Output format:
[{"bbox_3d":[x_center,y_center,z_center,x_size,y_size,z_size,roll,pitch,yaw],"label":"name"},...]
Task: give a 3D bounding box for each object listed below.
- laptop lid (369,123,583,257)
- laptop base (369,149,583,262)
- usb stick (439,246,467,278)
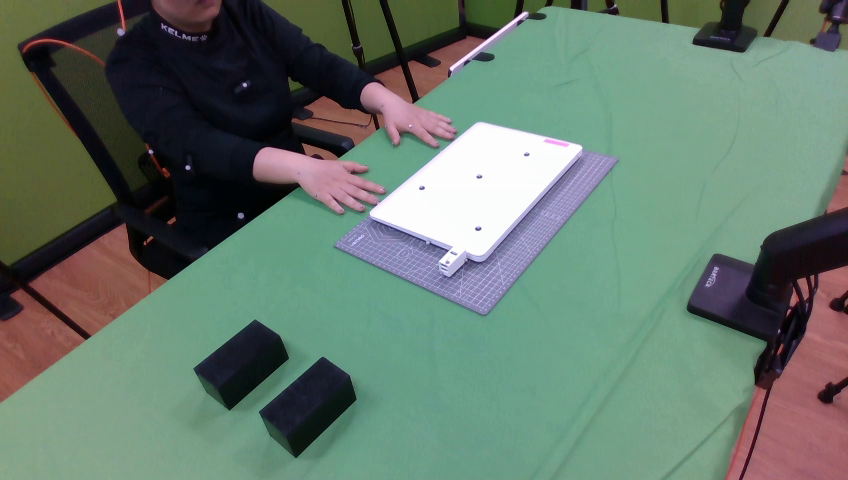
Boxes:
[{"bbox_3d":[0.098,-0.106,1.065,0.239,0.013,0.358,22,48,33],"label":"laptop lid"},{"bbox_3d":[0.101,-0.097,1.071,0.233,0.023,0.355,19,47,32],"label":"laptop base"},{"bbox_3d":[0.048,0.028,0.913,0.021,0.027,0.059,23,47,31],"label":"usb stick"}]
